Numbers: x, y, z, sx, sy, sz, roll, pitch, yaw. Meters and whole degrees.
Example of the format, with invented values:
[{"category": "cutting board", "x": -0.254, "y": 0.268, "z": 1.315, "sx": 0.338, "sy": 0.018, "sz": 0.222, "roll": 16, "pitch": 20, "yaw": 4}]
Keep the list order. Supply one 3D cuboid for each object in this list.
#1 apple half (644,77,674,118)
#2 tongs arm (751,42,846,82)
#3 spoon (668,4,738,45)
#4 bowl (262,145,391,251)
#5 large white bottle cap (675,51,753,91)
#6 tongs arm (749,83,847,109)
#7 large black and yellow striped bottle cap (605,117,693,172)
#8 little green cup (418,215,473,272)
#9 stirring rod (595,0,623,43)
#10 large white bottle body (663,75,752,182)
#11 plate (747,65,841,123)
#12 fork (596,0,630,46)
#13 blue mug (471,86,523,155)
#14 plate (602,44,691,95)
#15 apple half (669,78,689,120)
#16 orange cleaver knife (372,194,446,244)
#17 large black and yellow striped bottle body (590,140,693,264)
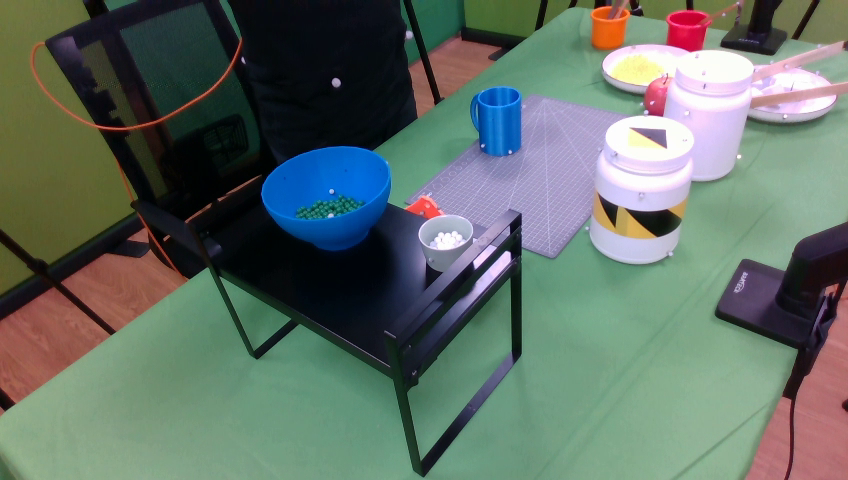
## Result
[{"category": "apple half", "x": 0.463, "y": -0.279, "z": 1.194, "sx": 0.053, "sy": 0.075, "sz": 0.081, "roll": 8, "pitch": 46, "yaw": 24}, {"category": "tongs arm", "x": 0.708, "y": -0.331, "z": 1.193, "sx": 0.386, "sy": 0.026, "sz": 0.050, "roll": -18, "pitch": 45, "yaw": -16}, {"category": "spoon", "x": 0.618, "y": -0.478, "z": 1.346, "sx": 0.042, "sy": 0.193, "sz": 0.021, "roll": -26, "pitch": 89, "yaw": -20}, {"category": "bowl", "x": -0.108, "y": -0.040, "z": 0.723, "sx": 0.151, "sy": 0.077, "sz": 0.150, "roll": -4, "pitch": 40, "yaw": 4}, {"category": "large white bottle cap", "x": 0.463, "y": -0.271, "z": 0.967, "sx": 0.115, "sy": 0.018, "sz": 0.114, "roll": -4, "pitch": 40, "yaw": 3}, {"category": "tongs arm", "x": 0.734, "y": -0.280, "z": 1.133, "sx": 0.388, "sy": 0.028, "sz": 0.028, "roll": -9, "pitch": 47, "yaw": -5}, {"category": "large black and yellow striped bottle cap", "x": 0.309, "y": -0.134, "z": 0.833, "sx": 0.115, "sy": 0.019, "sz": 0.114, "roll": -5, "pitch": 40, "yaw": 5}, {"category": "little green cup", "x": 0.026, "y": 0.005, "z": 0.678, "sx": 0.061, "sy": 0.039, "sz": 0.061, "roll": -4, "pitch": 40, "yaw": 4}, {"category": "stirring rod", "x": 0.460, "y": -0.556, "z": 1.459, "sx": 0.014, "sy": 0.006, "sz": 0.176, "roll": 30, "pitch": 93, "yaw": 23}, {"category": "large white bottle body", "x": 0.472, "y": -0.207, "z": 1.022, "sx": 0.130, "sy": 0.185, "sz": 0.130, "roll": -4, "pitch": 41, "yaw": 4}, {"category": "plate", "x": 0.694, "y": -0.282, "z": 1.189, "sx": 0.207, "sy": 0.039, "sz": 0.206, "roll": -4, "pitch": 40, "yaw": 4}, {"category": "fork", "x": 0.481, "y": -0.556, "z": 1.453, "sx": 0.028, "sy": 0.019, "sz": 0.207, "roll": 40, "pitch": 103, "yaw": 41}, {"category": "blue mug", "x": 0.135, "y": -0.235, "z": 1.163, "sx": 0.082, "sy": 0.106, "sz": 0.115, "roll": -36, "pitch": 48, "yaw": -28}, {"category": "plate", "x": 0.495, "y": -0.367, "z": 1.317, "sx": 0.209, "sy": 0.038, "sz": 0.208, "roll": -4, "pitch": 40, "yaw": 4}, {"category": "apple half", "x": 0.498, "y": -0.273, "z": 1.180, "sx": 0.032, "sy": 0.082, "sz": 0.081, "roll": 7, "pitch": 42, "yaw": 25}, {"category": "orange cleaver knife", "x": -0.032, "y": -0.026, "z": 0.964, "sx": 0.210, "sy": 0.077, "sz": 0.012, "roll": -9, "pitch": 29, "yaw": 51}, {"category": "large black and yellow striped bottle body", "x": 0.317, "y": -0.071, "z": 0.889, "sx": 0.131, "sy": 0.185, "sz": 0.130, "roll": -4, "pitch": 41, "yaw": 4}]
